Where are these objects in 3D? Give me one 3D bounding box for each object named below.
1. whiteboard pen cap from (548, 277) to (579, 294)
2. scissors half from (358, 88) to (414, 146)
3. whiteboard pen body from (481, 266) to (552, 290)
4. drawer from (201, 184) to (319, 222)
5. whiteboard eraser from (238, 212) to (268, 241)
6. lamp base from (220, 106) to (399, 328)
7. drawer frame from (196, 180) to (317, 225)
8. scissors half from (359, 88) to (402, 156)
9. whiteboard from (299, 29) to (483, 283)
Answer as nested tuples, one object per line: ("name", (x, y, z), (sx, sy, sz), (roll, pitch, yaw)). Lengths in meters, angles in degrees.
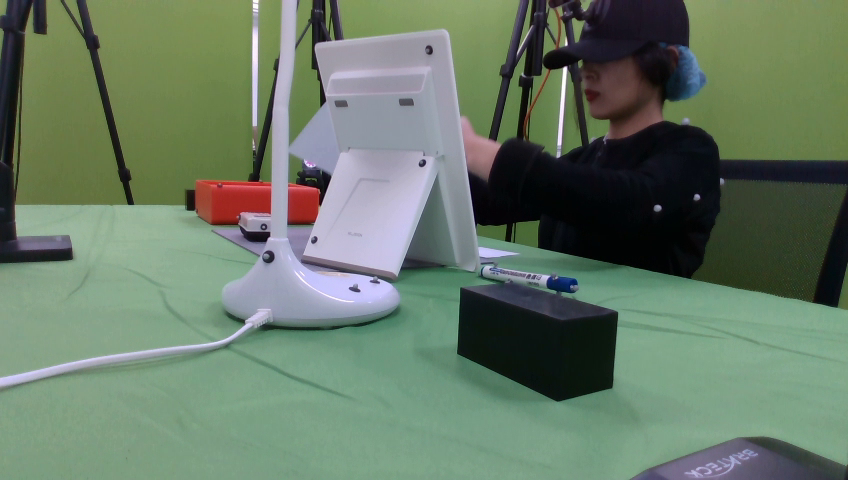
("whiteboard pen cap", (0.148, 0.049, 0.647), (0.018, 0.018, 0.033), (-3, 3, -35))
("scissors half", (-0.074, -0.244, 1.197), (0.176, 0.040, 0.012), (37, 12, -44))
("whiteboard pen body", (0.115, 0.044, 0.695), (0.017, 0.017, 0.140), (-3, 5, -35))
("drawer", (-0.353, -0.082, 1.295), (0.213, 0.073, 0.193), (-2, 9, -28))
("whiteboard eraser", (-0.272, -0.023, 0.998), (0.056, 0.042, 0.112), (-2, 9, -24))
("lamp base", (-0.102, -0.023, 0.531), (0.160, 0.180, 0.179), (4, 10, 10))
("drawer frame", (-0.359, -0.083, 1.292), (0.215, 0.082, 0.200), (-2, 10, -30))
("scissors half", (-0.090, -0.231, 1.198), (0.040, 0.176, 0.013), (-36, 44, -7))
("whiteboard", (-0.074, -0.082, 0.742), (0.216, 0.305, 0.144), (9, 29, 38))
